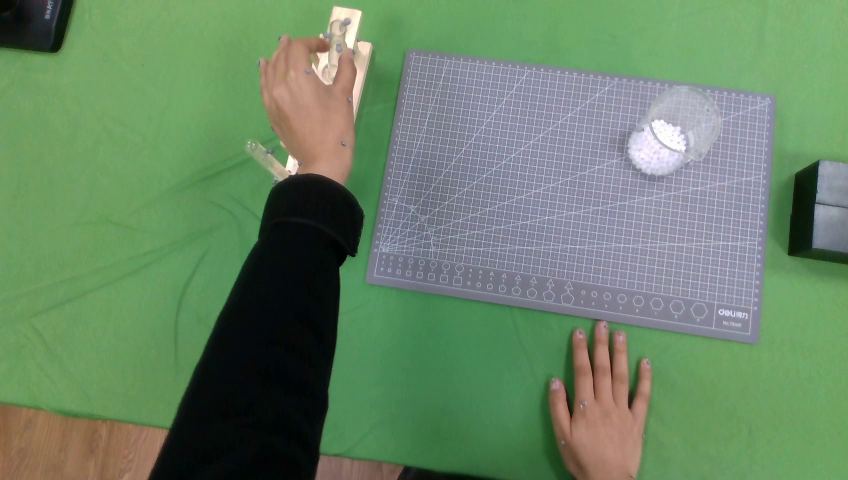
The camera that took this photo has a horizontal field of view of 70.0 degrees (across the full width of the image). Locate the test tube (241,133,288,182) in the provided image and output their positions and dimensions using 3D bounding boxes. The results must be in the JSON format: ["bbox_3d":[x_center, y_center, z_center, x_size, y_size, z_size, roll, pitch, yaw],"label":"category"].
[{"bbox_3d":[-0.165,-0.085,0.651,0.017,0.151,0.017,0,81,3],"label":"test tube"}]

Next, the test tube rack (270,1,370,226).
[{"bbox_3d":[-0.127,-0.146,0.704,0.066,0.085,0.241,12,81,5],"label":"test tube rack"}]

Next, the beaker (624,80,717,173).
[{"bbox_3d":[0.270,-0.118,0.673,0.074,0.100,0.083,-20,80,-1],"label":"beaker"}]

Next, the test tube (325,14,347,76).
[{"bbox_3d":[-0.091,-0.193,0.616,0.017,0.150,0.017,0,87,-11],"label":"test tube"}]
